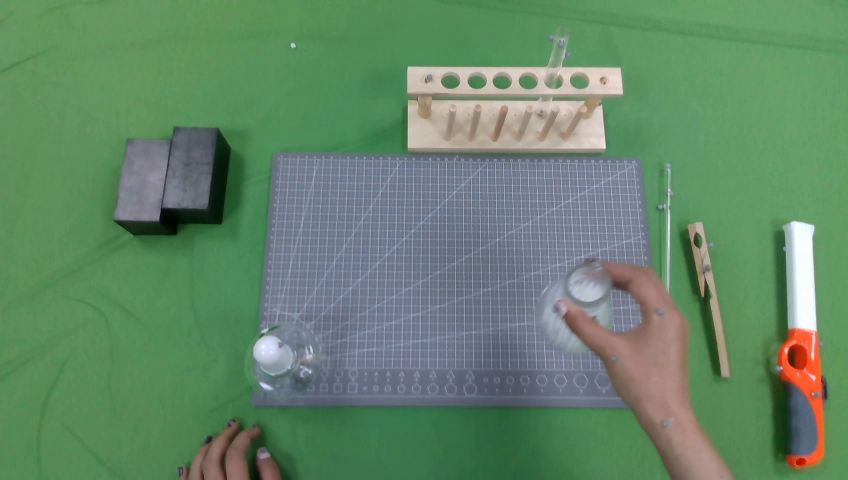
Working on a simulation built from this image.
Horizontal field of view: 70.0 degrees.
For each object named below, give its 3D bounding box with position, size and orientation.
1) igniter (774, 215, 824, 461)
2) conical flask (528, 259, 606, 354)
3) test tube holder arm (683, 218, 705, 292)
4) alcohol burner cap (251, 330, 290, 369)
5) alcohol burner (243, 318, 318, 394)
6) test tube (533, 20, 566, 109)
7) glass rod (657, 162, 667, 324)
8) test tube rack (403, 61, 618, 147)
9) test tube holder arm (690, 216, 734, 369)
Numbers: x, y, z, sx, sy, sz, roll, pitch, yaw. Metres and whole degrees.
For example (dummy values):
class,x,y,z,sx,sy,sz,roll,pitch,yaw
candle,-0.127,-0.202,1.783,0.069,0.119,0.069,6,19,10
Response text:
class,x,y,z,sx,sy,sz,roll,pitch,yaw
igniter,0.419,0.105,0.679,0.057,0.025,0.275,11,74,-9
conical flask,0.134,0.055,0.544,0.075,0.123,0.075,-2,68,6
test tube holder arm,0.317,0.017,0.707,0.010,0.015,0.087,-17,72,32
alcohol burner cap,-0.148,0.102,0.577,0.034,0.048,0.033,1,65,-1
alcohol burner,-0.149,0.114,0.611,0.078,0.120,0.077,0,72,0
test tube,0.138,-0.190,0.675,0.017,0.151,0.017,-1,71,3
glass rod,0.281,0.000,0.715,0.008,0.008,0.198,7,76,0
test tube rack,0.097,-0.159,0.716,0.242,0.085,0.066,0,74,-2
test tube holder arm,0.327,0.058,0.692,0.013,0.015,0.177,-18,71,32
